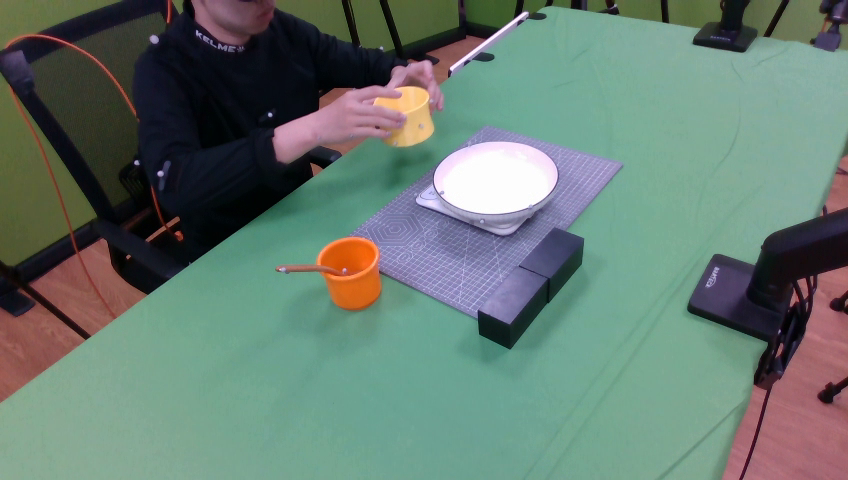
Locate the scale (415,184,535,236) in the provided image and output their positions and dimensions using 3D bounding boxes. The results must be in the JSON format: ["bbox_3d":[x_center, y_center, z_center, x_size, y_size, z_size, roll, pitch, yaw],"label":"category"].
[{"bbox_3d":[0.099,-0.080,1.035,0.199,0.032,0.149,23,48,31],"label":"scale"}]

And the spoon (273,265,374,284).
[{"bbox_3d":[-0.136,0.045,0.839,0.041,0.195,0.021,17,91,33],"label":"spoon"}]

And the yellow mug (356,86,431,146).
[{"bbox_3d":[-0.055,-0.218,1.070,0.131,0.064,0.099,-6,42,1],"label":"yellow mug"}]

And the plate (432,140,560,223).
[{"bbox_3d":[0.118,-0.094,0.999,0.209,0.038,0.208,-4,41,4],"label":"plate"}]
